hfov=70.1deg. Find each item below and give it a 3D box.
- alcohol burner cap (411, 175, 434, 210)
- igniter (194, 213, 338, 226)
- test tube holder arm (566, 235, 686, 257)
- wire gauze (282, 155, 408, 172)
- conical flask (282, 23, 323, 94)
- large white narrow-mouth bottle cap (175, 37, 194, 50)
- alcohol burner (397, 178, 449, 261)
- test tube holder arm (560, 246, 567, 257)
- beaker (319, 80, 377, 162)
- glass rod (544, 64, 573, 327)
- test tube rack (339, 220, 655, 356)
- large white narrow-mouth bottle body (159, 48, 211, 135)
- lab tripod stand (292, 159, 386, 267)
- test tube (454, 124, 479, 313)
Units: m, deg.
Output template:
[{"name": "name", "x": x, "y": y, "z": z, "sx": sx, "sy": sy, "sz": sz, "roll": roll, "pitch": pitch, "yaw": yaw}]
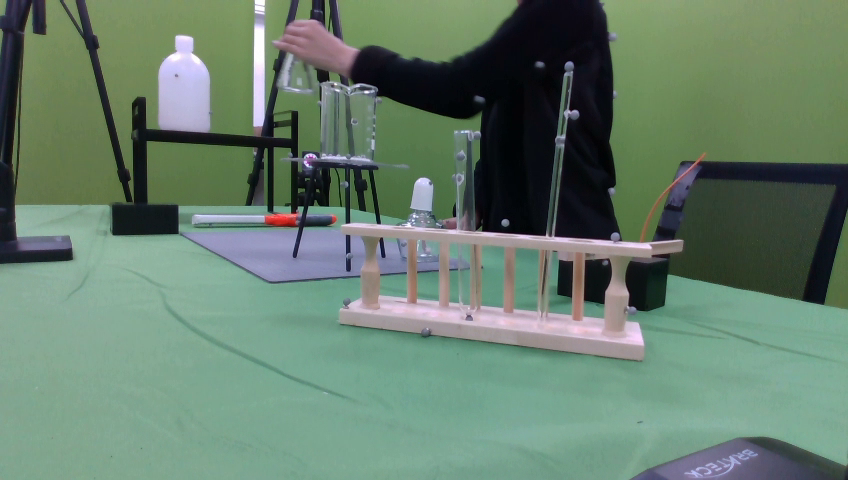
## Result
[{"name": "alcohol burner cap", "x": 0.000, "y": -0.067, "z": 0.842, "sx": 0.034, "sy": 0.048, "sz": 0.034, "roll": 7, "pitch": 8, "yaw": -1}, {"name": "igniter", "x": -0.306, "y": -0.041, "z": 1.197, "sx": 0.278, "sy": 0.025, "sz": 0.057, "roll": -2, "pitch": -2, "yaw": -30}, {"name": "test tube holder arm", "x": 0.215, "y": 0.006, "z": 0.630, "sx": 0.179, "sy": 0.015, "sz": 0.013, "roll": -3, "pitch": 8, "yaw": -31}, {"name": "wire gauze", "x": -0.104, "y": -0.103, "z": 0.785, "sx": 0.126, "sy": 0.011, "sz": 0.121, "roll": 1, "pitch": 8, "yaw": -39}, {"name": "conical flask", "x": -0.221, "y": -0.334, "z": 1.113, "sx": 0.075, "sy": 0.122, "sz": 0.075, "roll": 5, "pitch": 12, "yaw": -1}, {"name": "large white narrow-mouth bottle cap", "x": -0.501, "y": -0.410, "z": 1.264, "sx": 0.038, "sy": 0.024, "sz": 0.037, "roll": 2, "pitch": 7, "yaw": 0}, {"name": "alcohol burner", "x": -0.002, "y": -0.031, "z": 0.846, "sx": 0.078, "sy": 0.119, "sz": 0.078, "roll": 0, "pitch": 6, "yaw": 0}, {"name": "test tube holder arm", "x": 0.173, "y": 0.008, "z": 0.612, "sx": 0.088, "sy": 0.015, "sz": 0.010, "roll": -3, "pitch": 8, "yaw": -30}, {"name": "beaker", "x": -0.098, "y": -0.150, "z": 0.777, "sx": 0.074, "sy": 0.100, "sz": 0.084, "roll": 1, "pitch": 7, "yaw": -8}, {"name": "glass rod", "x": 0.101, "y": -0.028, "z": 0.453, "sx": 0.008, "sy": 0.199, "sz": 0.008, "roll": 2, "pitch": 13, "yaw": 0}, {"name": "test tube rack", "x": 0.056, "y": 0.032, "z": 0.495, "sx": 0.242, "sy": 0.085, "sz": 0.067, "roll": 4, "pitch": 7, "yaw": 15}, {"name": "large white narrow-mouth bottle body", "x": -0.503, "y": -0.323, "z": 1.275, "sx": 0.102, "sy": 0.194, "sz": 0.102, "roll": 2, "pitch": 7, "yaw": 0}, {"name": "lab tripod stand", "x": -0.105, "y": -0.039, "z": 0.797, "sx": 0.148, "sy": 0.131, "sz": 0.148, "roll": 2, "pitch": 5, "yaw": 0}, {"name": "test tube", "x": 0.034, "y": -0.015, "z": 0.477, "sx": 0.017, "sy": 0.150, "sz": 0.017, "roll": -2, "pitch": 9, "yaw": 1}]
